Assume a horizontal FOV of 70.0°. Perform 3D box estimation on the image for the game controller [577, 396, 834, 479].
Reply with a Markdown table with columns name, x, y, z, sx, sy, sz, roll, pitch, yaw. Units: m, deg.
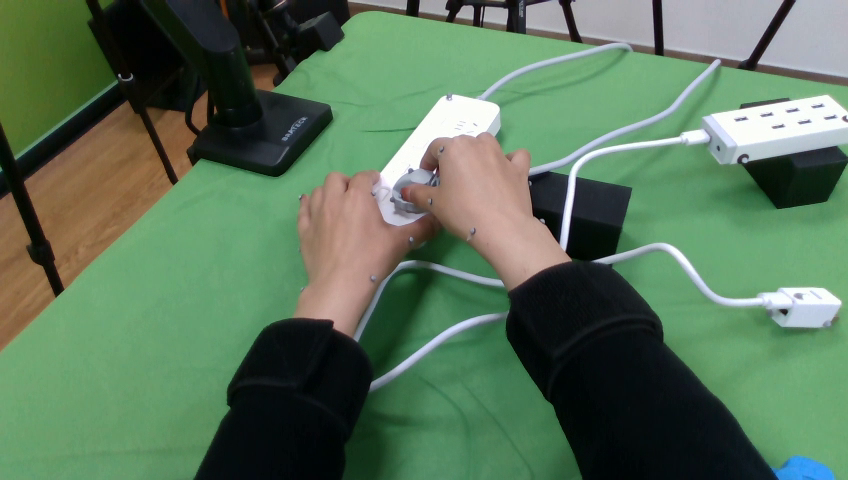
| name | x | y | z | sx | sy | sz | roll | pitch | yaw |
| --- | --- | --- | --- | --- | --- | --- | --- | --- | --- |
| game controller | 0.174 | 0.155 | 0.365 | 0.154 | 0.052 | 0.096 | 18 | 46 | 18 |

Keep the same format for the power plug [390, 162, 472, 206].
| name | x | y | z | sx | sy | sz | roll | pitch | yaw |
| --- | --- | --- | --- | --- | --- | --- | --- | --- | --- |
| power plug | 0.002 | -0.039 | 0.533 | 0.072 | 0.053 | 0.035 | 29 | 54 | 24 |

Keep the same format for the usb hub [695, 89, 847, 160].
| name | x | y | z | sx | sy | sz | roll | pitch | yaw |
| --- | --- | --- | --- | --- | --- | --- | --- | --- | --- |
| usb hub | 0.315 | -0.103 | 0.544 | 0.125 | 0.025 | 0.049 | -11 | 48 | -4 |

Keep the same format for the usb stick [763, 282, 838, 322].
| name | x | y | z | sx | sy | sz | roll | pitch | yaw |
| --- | --- | --- | --- | --- | --- | --- | --- | --- | --- |
| usb stick | 0.294 | 0.048 | 0.465 | 0.059 | 0.027 | 0.021 | 5 | 29 | -19 |

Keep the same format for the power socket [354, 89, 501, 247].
| name | x | y | z | sx | sy | sz | roll | pitch | yaw |
| --- | --- | --- | --- | --- | --- | --- | --- | --- | --- |
| power socket | 0.009 | -0.080 | 0.605 | 0.072 | 0.033 | 0.225 | 19 | 51 | 19 |
